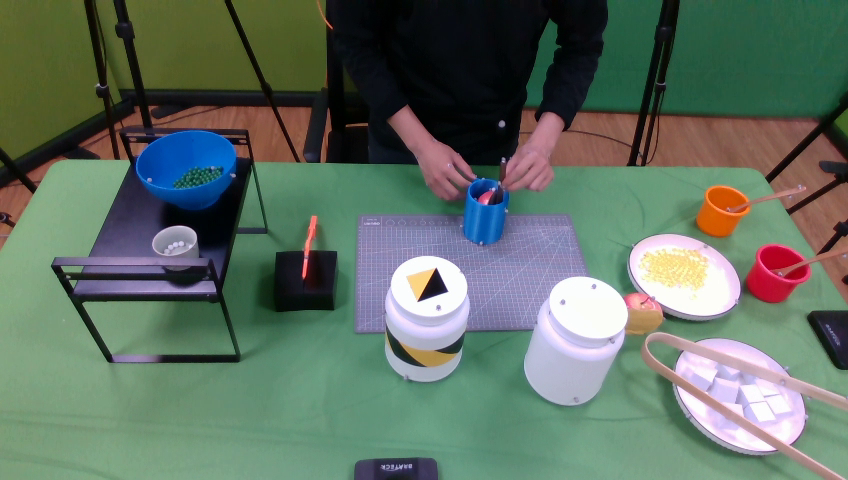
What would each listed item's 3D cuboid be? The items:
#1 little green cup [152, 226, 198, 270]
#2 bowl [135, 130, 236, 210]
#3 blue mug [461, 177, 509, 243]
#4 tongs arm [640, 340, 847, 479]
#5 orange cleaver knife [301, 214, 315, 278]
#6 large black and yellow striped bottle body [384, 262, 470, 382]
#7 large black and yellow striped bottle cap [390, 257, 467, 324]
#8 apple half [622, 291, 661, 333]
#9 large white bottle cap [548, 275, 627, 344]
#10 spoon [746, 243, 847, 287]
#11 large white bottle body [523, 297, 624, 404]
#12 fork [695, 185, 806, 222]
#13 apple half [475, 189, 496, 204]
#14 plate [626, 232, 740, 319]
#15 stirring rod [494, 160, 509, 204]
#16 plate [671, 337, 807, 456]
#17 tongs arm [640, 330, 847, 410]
[{"bbox_3d":[-0.364,0.013,0.894,0.061,0.039,0.061,3,47,-3],"label":"little green cup"},{"bbox_3d":[-0.375,-0.102,0.978,0.151,0.077,0.150,2,46,-2],"label":"bowl"},{"bbox_3d":[0.114,-0.070,1.210,0.082,0.106,0.115,-11,48,-15],"label":"blue mug"},{"bbox_3d":[0.500,0.278,0.920,0.386,0.028,0.028,34,60,22],"label":"tongs arm"},{"bbox_3d":[-0.218,0.007,1.131,0.012,0.077,0.210,7,19,-9],"label":"orange cleaver knife"},{"bbox_3d":[0.002,0.127,0.962,0.131,0.185,0.130,2,48,-2],"label":"large black and yellow striped bottle body"},{"bbox_3d":[0.007,0.072,0.898,0.115,0.019,0.114,2,47,-2],"label":"large black and yellow striped bottle cap"},{"bbox_3d":[0.372,0.123,1.074,0.081,0.075,0.053,0,42,1],"label":"apple half"},{"bbox_3d":[0.240,0.100,0.890,0.115,0.018,0.114,3,47,-3],"label":"large white bottle cap"},{"bbox_3d":[0.702,0.043,1.126,0.194,0.022,0.041,-29,38,30],"label":"spoon"},{"bbox_3d":[0.235,0.159,0.952,0.131,0.185,0.130,2,47,-2],"label":"large white bottle body"},{"bbox_3d":[0.658,-0.074,1.229,0.207,0.019,0.028,-23,34,37],"label":"fork"},{"bbox_3d":[0.110,-0.067,1.195,0.033,0.081,0.081,27,50,8],"label":"apple half"},{"bbox_3d":[0.488,0.071,1.157,0.209,0.038,0.208,3,46,-3],"label":"plate"},{"bbox_3d":[0.142,-0.083,1.147,0.014,0.177,0.006,-29,57,-25],"label":"stirring rod"},{"bbox_3d":[0.504,0.254,0.984,0.208,0.039,0.206,2,46,-2],"label":"plate"},{"bbox_3d":[0.543,0.225,0.969,0.384,0.026,0.050,22,53,13],"label":"tongs arm"}]
